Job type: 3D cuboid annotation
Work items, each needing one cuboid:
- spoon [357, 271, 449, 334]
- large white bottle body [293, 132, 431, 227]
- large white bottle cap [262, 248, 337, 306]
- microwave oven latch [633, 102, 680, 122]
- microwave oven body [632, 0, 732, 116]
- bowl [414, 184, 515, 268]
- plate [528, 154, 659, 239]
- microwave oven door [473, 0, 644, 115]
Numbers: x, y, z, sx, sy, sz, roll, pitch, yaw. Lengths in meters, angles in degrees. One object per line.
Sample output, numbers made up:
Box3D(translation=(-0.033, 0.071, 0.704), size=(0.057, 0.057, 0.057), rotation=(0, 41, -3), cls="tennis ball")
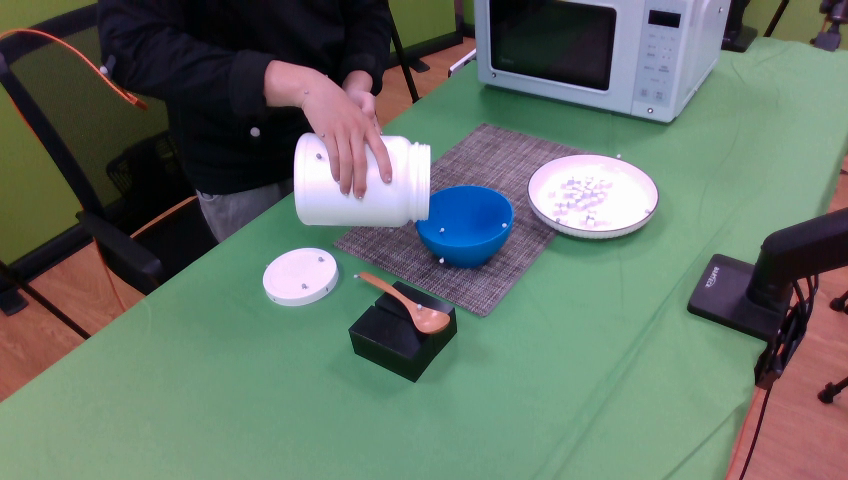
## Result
Box3D(translation=(-0.034, 0.078, 0.812), size=(0.042, 0.022, 0.192), rotation=(-34, 42, -25), cls="spoon")
Box3D(translation=(-0.084, -0.084, 0.858), size=(0.185, 0.131, 0.130), rotation=(2, 40, -2), cls="large white bottle body")
Box3D(translation=(-0.193, 0.056, 0.934), size=(0.115, 0.018, 0.114), rotation=(-4, 41, 4), cls="large white bottle cap")
Box3D(translation=(0.443, -0.249, 1.157), size=(0.078, 0.029, 0.030), rotation=(21, 49, 30), cls="microwave oven latch")
Box3D(translation=(0.377, -0.463, 1.267), size=(0.438, 0.261, 0.327), rotation=(21, 49, 30), cls="microwave oven body")
Box3D(translation=(0.063, -0.010, 0.922), size=(0.151, 0.077, 0.150), rotation=(-4, 40, 4), cls="bowl")
Box3D(translation=(0.274, -0.069, 0.993), size=(0.209, 0.038, 0.208), rotation=(-2, 42, 2), cls="plate")
Box3D(translation=(0.257, -0.396, 1.199), size=(0.353, 0.245, 0.039), rotation=(21, 48, 29), cls="microwave oven door")
